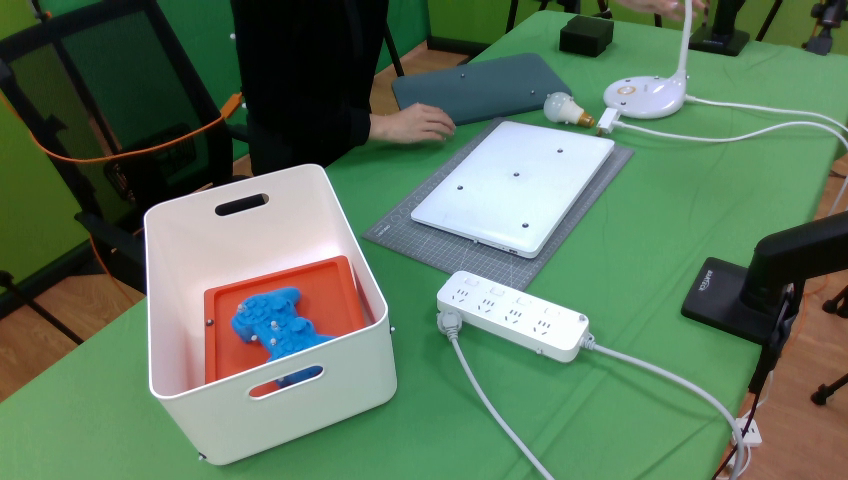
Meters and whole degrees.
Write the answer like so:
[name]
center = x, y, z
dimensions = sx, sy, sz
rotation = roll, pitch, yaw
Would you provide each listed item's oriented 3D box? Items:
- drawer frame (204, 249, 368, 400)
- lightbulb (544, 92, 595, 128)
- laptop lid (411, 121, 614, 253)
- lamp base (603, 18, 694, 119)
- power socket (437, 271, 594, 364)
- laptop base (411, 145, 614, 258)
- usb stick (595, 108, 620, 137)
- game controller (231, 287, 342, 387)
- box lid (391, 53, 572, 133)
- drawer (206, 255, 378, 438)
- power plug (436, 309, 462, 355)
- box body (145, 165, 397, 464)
[drawer frame]
center = -0.174, 0.129, 0.790
dimensions = 0.202, 0.083, 0.212
rotation = -16, 45, -8
[lightbulb]
center = 0.293, -0.257, 1.216
dimensions = 0.107, 0.059, 0.059
rotation = 30, 51, 16
[laptop lid]
center = 0.164, -0.112, 1.068
dimensions = 0.240, 0.013, 0.357
rotation = 19, 46, 30
[lamp base]
center = 0.460, -0.355, 1.205
dimensions = 0.179, 0.181, 0.160
rotation = 2, 41, 7
[power socket]
center = 0.118, 0.102, 0.830
dimensions = 0.225, 0.033, 0.072
rotation = 20, 48, 28
[laptop base]
center = 0.167, -0.102, 1.075
dimensions = 0.234, 0.023, 0.355
rotation = 17, 45, 30
[usb stick]
center = 0.355, -0.226, 1.175
dimensions = 0.027, 0.022, 0.059
rotation = 29, 85, 40
[game controller]
center = -0.167, 0.110, 0.734
dimensions = 0.097, 0.052, 0.154
rotation = -35, 47, -22
[box lid]
center = 0.122, -0.339, 1.366
dimensions = 0.372, 0.015, 0.261
rotation = -12, 40, -5
[drawer]
center = -0.177, 0.130, 0.787
dimensions = 0.195, 0.073, 0.210
rotation = -14, 39, -9
[power plug]
center = 0.032, 0.126, 0.809
dimensions = 0.035, 0.053, 0.072
rotation = 3, 59, 7
[box body]
center = -0.205, 0.080, 0.802
dimensions = 0.255, 0.161, 0.361
rotation = -18, 41, -13
